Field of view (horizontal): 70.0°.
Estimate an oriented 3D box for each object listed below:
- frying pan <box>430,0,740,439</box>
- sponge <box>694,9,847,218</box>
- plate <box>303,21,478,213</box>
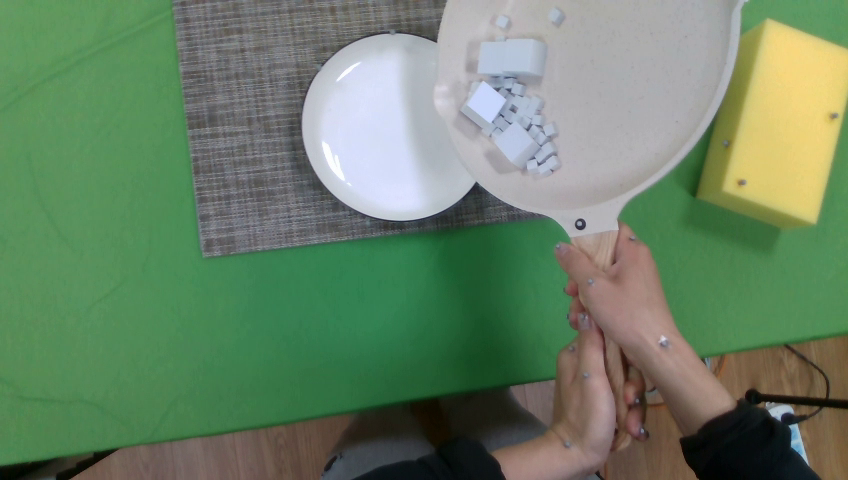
[{"bbox_3d":[0.143,-0.074,0.541,0.103,0.305,0.486,5,79,-46],"label":"frying pan"},{"bbox_3d":[0.408,-0.142,0.704,0.118,0.061,0.206,17,87,-4],"label":"sponge"},{"bbox_3d":[-0.026,-0.131,0.665,0.208,0.039,0.207,0,88,-6],"label":"plate"}]
